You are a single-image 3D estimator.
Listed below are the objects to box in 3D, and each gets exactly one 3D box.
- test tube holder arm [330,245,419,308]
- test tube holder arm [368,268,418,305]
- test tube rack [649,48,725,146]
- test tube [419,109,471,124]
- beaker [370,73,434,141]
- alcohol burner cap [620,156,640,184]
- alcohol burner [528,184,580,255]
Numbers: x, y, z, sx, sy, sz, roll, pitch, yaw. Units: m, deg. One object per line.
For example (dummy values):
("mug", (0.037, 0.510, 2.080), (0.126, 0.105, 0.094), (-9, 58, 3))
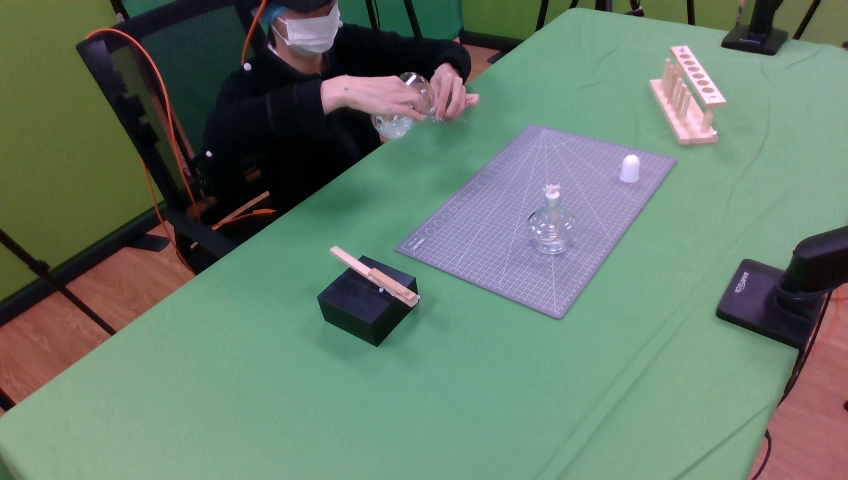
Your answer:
("test tube holder arm", (-0.074, 0.049, 0.857), (0.177, 0.013, 0.015), (30, 53, 36))
("test tube holder arm", (-0.043, 0.063, 0.827), (0.015, 0.010, 0.087), (-37, 47, -29))
("test tube rack", (0.508, -0.285, 1.186), (0.067, 0.085, 0.241), (-4, 40, 6))
("test tube", (0.042, -0.228, 1.121), (0.017, 0.017, 0.151), (24, 19, 33))
("beaker", (-0.037, -0.219, 1.013), (0.073, 0.084, 0.100), (6, 45, 36))
("alcohol burner cap", (0.358, -0.124, 1.047), (0.034, 0.048, 0.033), (-4, 40, 4))
("alcohol burner", (0.196, -0.036, 0.911), (0.078, 0.119, 0.077), (-6, 41, 5))
